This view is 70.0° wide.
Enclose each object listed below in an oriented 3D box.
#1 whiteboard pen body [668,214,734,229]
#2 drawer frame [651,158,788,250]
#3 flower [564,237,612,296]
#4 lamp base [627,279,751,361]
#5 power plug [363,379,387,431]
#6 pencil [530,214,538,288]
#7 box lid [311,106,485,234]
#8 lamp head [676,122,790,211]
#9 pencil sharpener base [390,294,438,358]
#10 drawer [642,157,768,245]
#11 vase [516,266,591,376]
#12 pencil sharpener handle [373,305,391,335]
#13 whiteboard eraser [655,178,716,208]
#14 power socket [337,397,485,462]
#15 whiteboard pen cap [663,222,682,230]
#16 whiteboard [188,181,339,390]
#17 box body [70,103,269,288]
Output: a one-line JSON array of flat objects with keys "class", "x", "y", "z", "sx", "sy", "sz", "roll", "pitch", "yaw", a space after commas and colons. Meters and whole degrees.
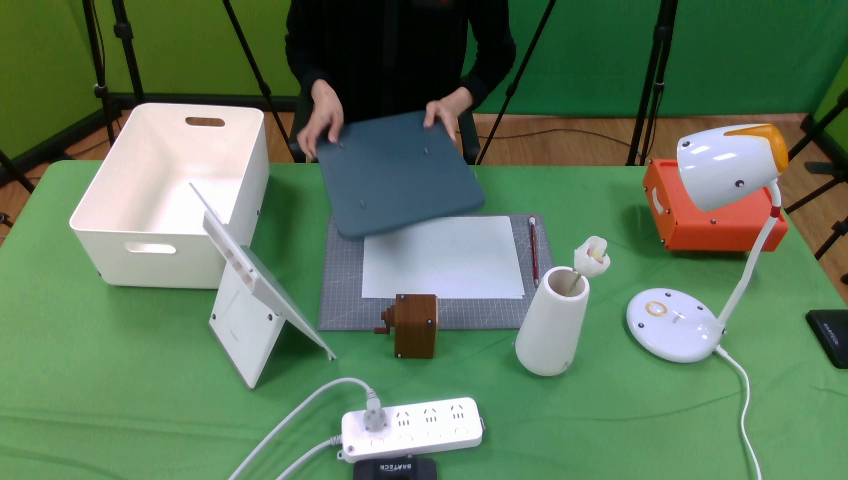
[{"class": "whiteboard pen body", "x": 0.547, "y": -0.035, "z": 1.200, "sx": 0.141, "sy": 0.017, "sz": 0.017, "roll": -8, "pitch": 48, "yaw": -9}, {"class": "drawer frame", "x": 0.571, "y": -0.074, "z": 1.213, "sx": 0.214, "sy": 0.083, "sz": 0.200, "roll": 1, "pitch": 46, "yaw": 0}, {"class": "flower", "x": 0.206, "y": 0.088, "z": 0.893, "sx": 0.038, "sy": 0.363, "sz": 0.044, "roll": -17, "pitch": 67, "yaw": -9}, {"class": "lamp base", "x": 0.459, "y": 0.100, "z": 1.027, "sx": 0.178, "sy": 0.181, "sz": 0.160, "roll": 27, "pitch": 51, "yaw": 17}, {"class": "power plug", "x": -0.072, "y": 0.252, "z": 0.910, "sx": 0.035, "sy": 0.053, "sz": 0.072, "roll": 3, "pitch": 45, "yaw": -1}, {"class": "pencil", "x": 0.218, "y": 0.019, "z": 1.202, "sx": 0.012, "sy": 0.012, "sz": 0.193, "roll": 6, "pitch": 48, "yaw": 1}, {"class": "box lid", "x": -0.063, "y": -0.143, "z": 1.129, "sx": 0.263, "sy": 0.015, "sz": 0.369, "roll": -14, "pitch": 40, "yaw": -9}, {"class": "lamp head", "x": 0.423, "y": -0.104, "z": 0.819, "sx": 0.122, "sy": 0.113, "sz": 0.112, "roll": -13, "pitch": 33, "yaw": 40}, {"class": "pencil sharpener base", "x": -0.018, "y": 0.143, "z": 1.000, "sx": 0.077, "sy": 0.107, "sz": 0.061, "roll": 1, "pitch": 46, "yaw": -2}, {"class": "drawer", "x": 0.564, "y": -0.075, "z": 1.210, "sx": 0.212, "sy": 0.073, "sz": 0.193, "roll": 3, "pitch": 45, "yaw": -1}, {"class": "vase", "x": 0.208, "y": 0.132, "z": 0.964, "sx": 0.098, "sy": 0.201, "sz": 0.097, "roll": 3, "pitch": 46, "yaw": -3}, {"class": "pencil sharpener handle", "x": -0.068, "y": 0.133, "z": 0.989, "sx": 0.030, "sy": 0.068, "sz": 0.036, "roll": 1, "pitch": 47, "yaw": -2}, {"class": "whiteboard eraser", "x": 0.538, "y": -0.095, "z": 1.251, "sx": 0.113, "sy": 0.042, "sz": 0.055, "roll": 4, "pitch": 52, "yaw": -10}, {"class": "power socket", "x": -0.018, "y": 0.285, "z": 0.915, "sx": 0.227, "sy": 0.033, "sz": 0.071, "roll": -5, "pitch": 46, "yaw": -8}, {"class": "whiteboard pen cap", "x": 0.487, "y": -0.027, "z": 1.188, "sx": 0.033, "sy": 0.018, "sz": 0.018, "roll": 0, "pitch": 46, "yaw": -16}, {"class": "whiteboard", "x": -0.292, "y": 0.096, "z": 0.929, "sx": 0.144, "sy": 0.307, "sz": 0.216, "roll": -38, "pitch": 57, "yaw": -11}, {"class": "box body", "x": -0.450, "y": -0.087, "z": 1.148, "sx": 0.254, "sy": 0.161, "sz": 0.361, "roll": 2, "pitch": 46, "yaw": -2}]
